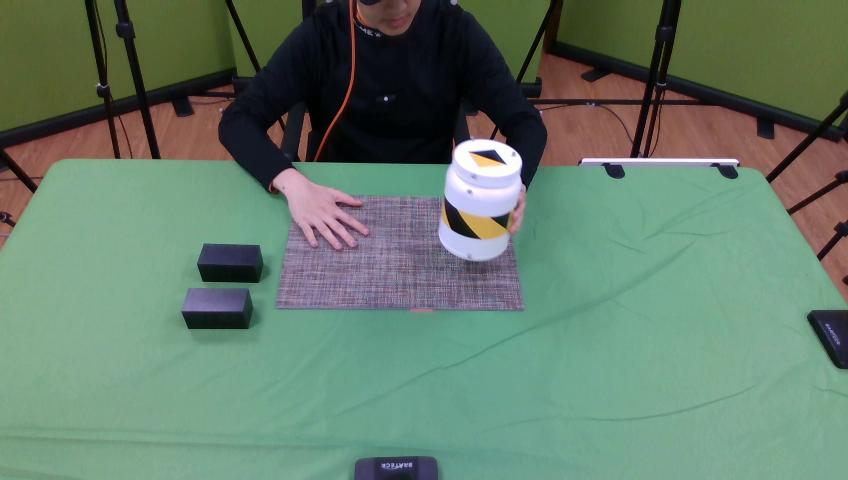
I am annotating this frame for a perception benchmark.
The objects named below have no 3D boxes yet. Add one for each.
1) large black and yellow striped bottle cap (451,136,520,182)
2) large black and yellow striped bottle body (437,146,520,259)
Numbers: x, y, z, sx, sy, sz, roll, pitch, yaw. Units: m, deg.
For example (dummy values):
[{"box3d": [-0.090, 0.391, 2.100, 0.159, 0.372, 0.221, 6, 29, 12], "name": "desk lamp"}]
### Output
[{"box3d": [0.103, -0.137, 1.014, 0.115, 0.019, 0.114, 3, 41, -2], "name": "large black and yellow striped bottle cap"}, {"box3d": [0.096, -0.074, 1.067, 0.131, 0.185, 0.130, 4, 40, -3], "name": "large black and yellow striped bottle body"}]
